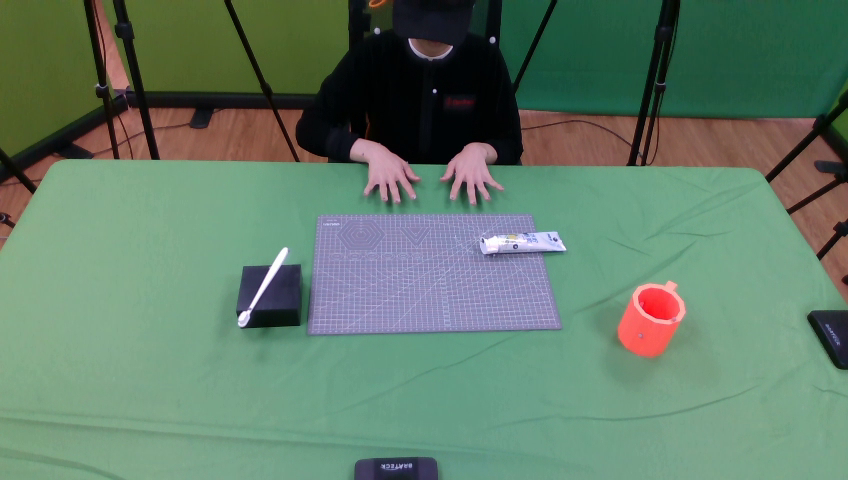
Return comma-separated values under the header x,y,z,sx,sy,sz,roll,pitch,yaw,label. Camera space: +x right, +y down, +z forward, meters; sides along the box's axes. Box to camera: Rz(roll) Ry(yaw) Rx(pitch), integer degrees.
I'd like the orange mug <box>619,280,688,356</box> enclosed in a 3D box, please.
x,y,z,sx,sy,sz,roll,pitch,yaw,label
0.401,0.125,1.045,0.083,0.101,0.126,30,56,24,orange mug

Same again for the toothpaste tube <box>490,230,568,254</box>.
x,y,z,sx,sy,sz,roll,pitch,yaw,label
0.201,0.006,1.195,0.165,0.034,0.054,-5,51,-14,toothpaste tube

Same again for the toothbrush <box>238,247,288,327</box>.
x,y,z,sx,sy,sz,roll,pitch,yaw,label
-0.274,0.075,1.040,0.014,0.017,0.181,11,46,10,toothbrush

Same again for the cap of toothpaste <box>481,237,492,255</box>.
x,y,z,sx,sy,sz,roll,pitch,yaw,label
0.122,0.011,1.176,0.011,0.037,0.037,-15,49,-16,cap of toothpaste
